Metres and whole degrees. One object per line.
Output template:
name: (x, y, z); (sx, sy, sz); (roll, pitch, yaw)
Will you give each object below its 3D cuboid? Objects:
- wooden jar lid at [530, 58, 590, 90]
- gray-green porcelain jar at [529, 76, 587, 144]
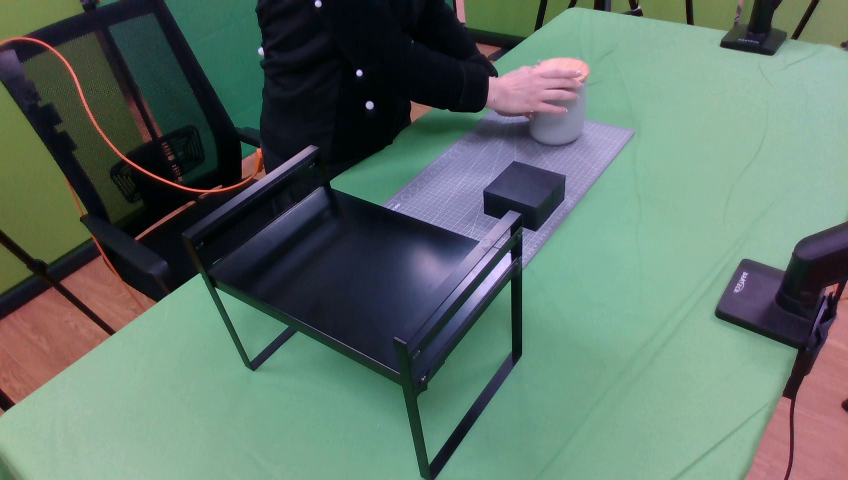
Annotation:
wooden jar lid: (0.249, -0.302, 1.110); (0.108, 0.021, 0.108); (-6, 40, 6)
gray-green porcelain jar: (0.254, -0.256, 1.153); (0.106, 0.127, 0.105); (-5, 43, 5)
